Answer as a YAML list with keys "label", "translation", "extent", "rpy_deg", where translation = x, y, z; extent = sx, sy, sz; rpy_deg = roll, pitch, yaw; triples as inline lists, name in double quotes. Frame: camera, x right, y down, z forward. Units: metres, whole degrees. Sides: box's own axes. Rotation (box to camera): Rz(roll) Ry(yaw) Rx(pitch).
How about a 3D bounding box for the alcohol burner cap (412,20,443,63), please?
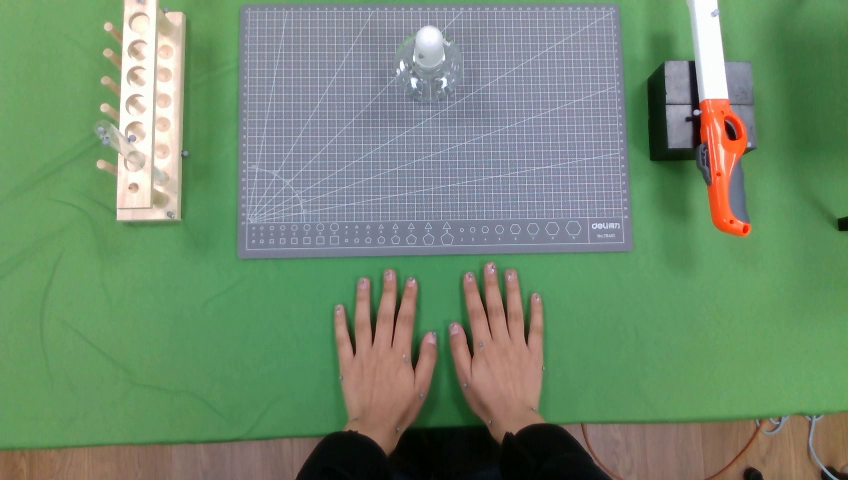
- label: "alcohol burner cap"
  translation: [0.003, -0.205, 0.618]
  extent: [0.034, 0.048, 0.034]
  rpy_deg: [0, 84, 1]

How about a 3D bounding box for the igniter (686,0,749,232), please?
- label: "igniter"
  translation: [0.317, -0.144, 0.659]
  extent: [0.057, 0.025, 0.275]
  rpy_deg: [-2, 81, -5]

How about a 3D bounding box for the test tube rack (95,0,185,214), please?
- label: "test tube rack"
  translation: [-0.309, -0.154, 0.654]
  extent: [0.067, 0.085, 0.241]
  rpy_deg: [-1, 84, -2]

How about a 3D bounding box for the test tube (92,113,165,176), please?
- label: "test tube"
  translation: [-0.287, -0.090, 0.599]
  extent: [0.017, 0.150, 0.017]
  rpy_deg: [1, 79, -5]

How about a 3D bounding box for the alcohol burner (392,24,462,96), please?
- label: "alcohol burner"
  translation: [0.004, -0.202, 0.654]
  extent: [0.078, 0.119, 0.077]
  rpy_deg: [0, 84, 0]
